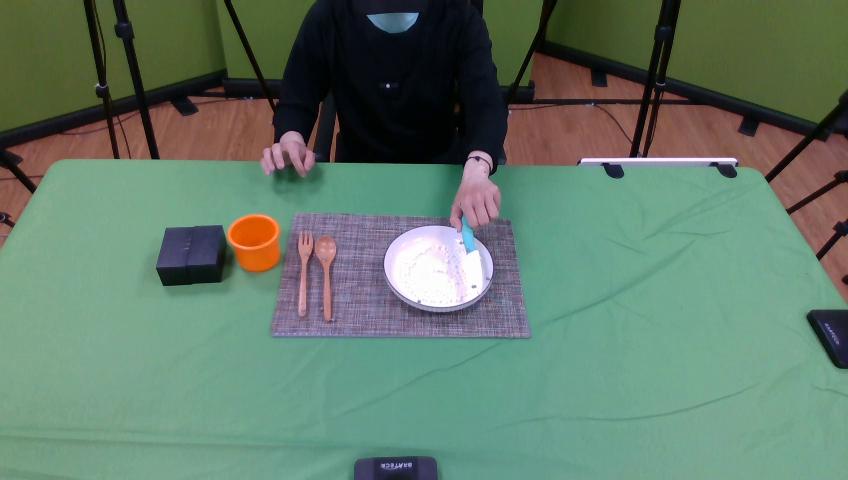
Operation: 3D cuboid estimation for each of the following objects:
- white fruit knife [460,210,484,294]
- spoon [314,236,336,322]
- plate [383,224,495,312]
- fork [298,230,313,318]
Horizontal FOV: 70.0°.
[{"bbox_3d":[0.089,0.019,1.114,0.027,0.016,0.206,1,46,-7],"label":"white fruit knife"},{"bbox_3d":[-0.180,0.068,1.111,0.042,0.022,0.192,9,43,-20],"label":"spoon"},{"bbox_3d":[0.026,0.055,1.128,0.209,0.038,0.208,2,46,-2],"label":"plate"},{"bbox_3d":[-0.222,0.058,1.121,0.028,0.019,0.206,2,44,-10],"label":"fork"}]
